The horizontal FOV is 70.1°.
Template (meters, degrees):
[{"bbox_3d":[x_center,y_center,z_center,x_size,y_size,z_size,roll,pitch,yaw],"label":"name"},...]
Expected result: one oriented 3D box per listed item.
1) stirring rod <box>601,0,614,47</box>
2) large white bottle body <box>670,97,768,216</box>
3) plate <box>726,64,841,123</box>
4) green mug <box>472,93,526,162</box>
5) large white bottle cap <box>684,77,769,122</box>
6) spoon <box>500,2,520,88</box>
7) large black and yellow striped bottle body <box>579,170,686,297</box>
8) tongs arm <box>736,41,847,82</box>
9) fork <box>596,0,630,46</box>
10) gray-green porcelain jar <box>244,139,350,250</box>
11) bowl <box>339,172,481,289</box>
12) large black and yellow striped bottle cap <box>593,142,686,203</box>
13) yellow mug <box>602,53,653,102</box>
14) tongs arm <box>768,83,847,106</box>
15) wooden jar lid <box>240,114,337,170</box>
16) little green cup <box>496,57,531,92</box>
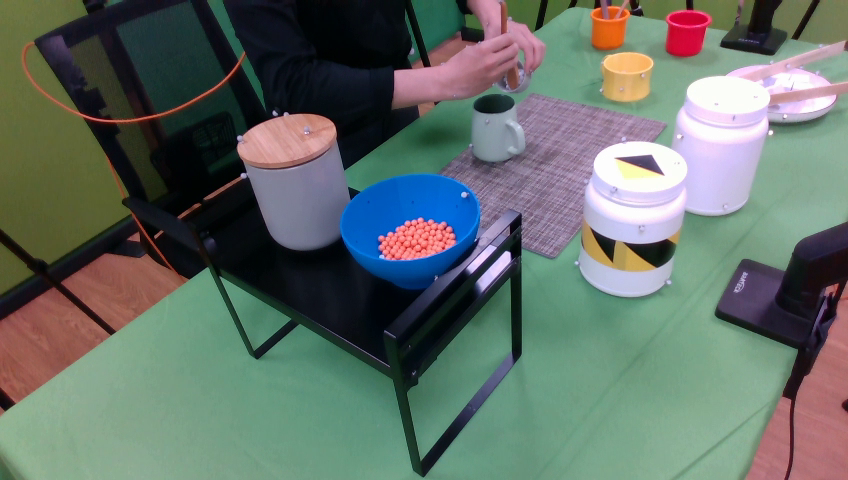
[{"bbox_3d":[0.439,-0.552,1.463,0.014,0.006,0.175,-7,83,3],"label":"stirring rod"},{"bbox_3d":[0.458,-0.146,0.952,0.130,0.185,0.130,-4,40,4],"label":"large white bottle body"},{"bbox_3d":[0.695,-0.282,1.189,0.207,0.039,0.206,-4,40,4],"label":"plate"},{"bbox_3d":[0.144,-0.202,1.122,0.093,0.105,0.124,-29,45,-23],"label":"green mug"},{"bbox_3d":[0.448,-0.209,0.898,0.115,0.018,0.114,-4,40,4],"label":"large white bottle cap"},{"bbox_3d":[0.142,-0.322,1.014,0.021,0.195,0.041,-23,63,7],"label":"spoon"},{"bbox_3d":[0.287,-0.027,0.841,0.131,0.185,0.130,-4,40,4],"label":"large black and yellow striped bottle body"},{"bbox_3d":[0.712,-0.332,1.194,0.386,0.026,0.050,-19,45,-16],"label":"tongs arm"},{"bbox_3d":[0.481,-0.556,1.452,0.028,0.019,0.207,40,103,39],"label":"fork"},{"bbox_3d":[-0.143,-0.060,0.714,0.106,0.127,0.105,-4,41,4],"label":"gray-green porcelain jar"},{"bbox_3d":[-0.011,0.001,0.660,0.151,0.077,0.150,-5,41,5],"label":"bowl"},{"bbox_3d":[0.280,-0.090,0.786,0.115,0.019,0.114,-5,41,5],"label":"large black and yellow striped bottle cap"},{"bbox_3d":[0.423,-0.354,1.293,0.100,0.064,0.129,-23,42,-16],"label":"yellow mug"},{"bbox_3d":[0.738,-0.281,1.134,0.388,0.028,0.028,-9,47,-5],"label":"tongs arm"},{"bbox_3d":[-0.149,-0.106,0.673,0.108,0.021,0.108,-6,39,5],"label":"wooden jar lid"},{"bbox_3d":[0.166,-0.299,1.105,0.061,0.061,0.039,19,11,28],"label":"little green cup"}]
